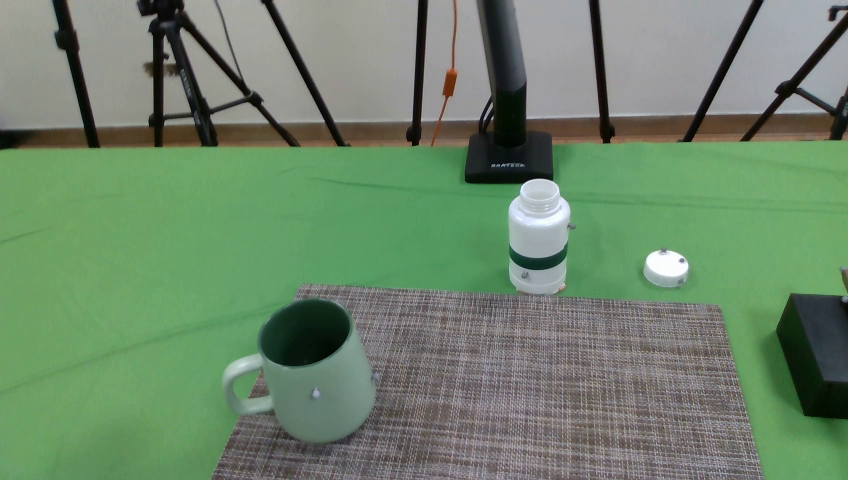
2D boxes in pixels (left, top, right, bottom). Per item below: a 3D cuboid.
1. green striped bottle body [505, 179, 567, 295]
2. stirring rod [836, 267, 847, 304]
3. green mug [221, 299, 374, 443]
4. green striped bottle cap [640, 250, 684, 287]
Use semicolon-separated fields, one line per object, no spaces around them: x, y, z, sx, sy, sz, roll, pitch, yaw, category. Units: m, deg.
0.117;-0.004;0.637;0.063;0.120;0.062;-4;40;4;green striped bottle body
0.368;0.084;0.500;0.006;0.014;0.175;0;40;16;stirring rod
-0.111;0.119;0.526;0.125;0.106;0.091;-16;41;-10;green mug
0.258;0.031;0.656;0.044;0.020;0.044;-2;36;2;green striped bottle cap
